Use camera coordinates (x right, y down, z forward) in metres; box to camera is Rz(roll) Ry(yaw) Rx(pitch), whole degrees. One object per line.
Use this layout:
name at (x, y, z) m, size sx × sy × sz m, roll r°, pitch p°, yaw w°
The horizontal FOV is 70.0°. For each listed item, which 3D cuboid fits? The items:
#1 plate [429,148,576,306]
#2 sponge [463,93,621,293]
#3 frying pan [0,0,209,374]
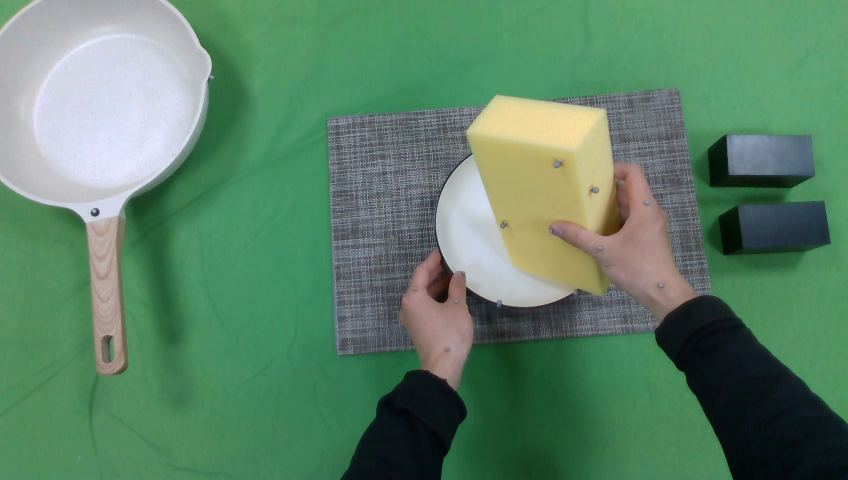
plate at (0.110, -0.022, 0.727) m, size 0.207 × 0.039 × 0.206 m, roll 0°, pitch 80°, yaw 2°
sponge at (0.130, -0.045, 0.630) m, size 0.117 × 0.209 × 0.060 m, roll 17°, pitch 57°, yaw 36°
frying pan at (-0.387, -0.080, 0.725) m, size 0.307 × 0.103 × 0.484 m, roll -12°, pitch 71°, yaw 1°
